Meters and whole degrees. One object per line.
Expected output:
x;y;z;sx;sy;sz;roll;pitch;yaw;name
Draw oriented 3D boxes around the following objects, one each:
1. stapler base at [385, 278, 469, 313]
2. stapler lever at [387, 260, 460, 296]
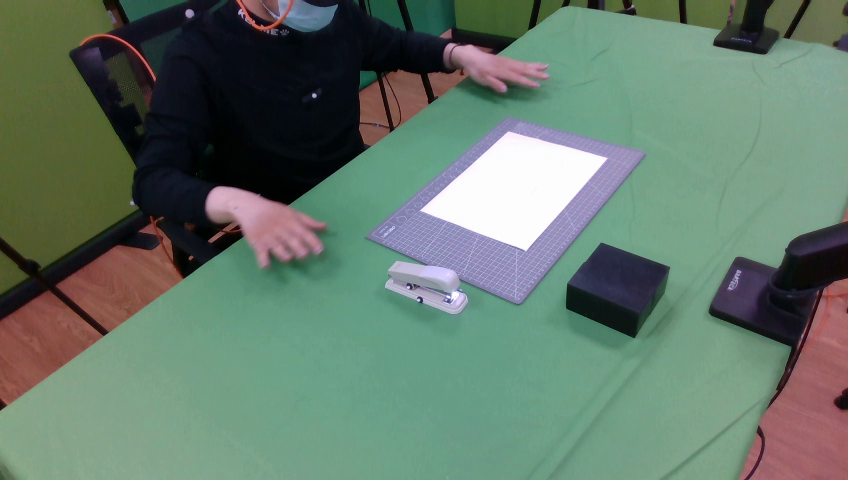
0.003;0.069;0.889;0.129;0.024;0.041;17;43;28;stapler base
-0.002;0.050;0.873;0.117;0.040;0.027;17;44;28;stapler lever
